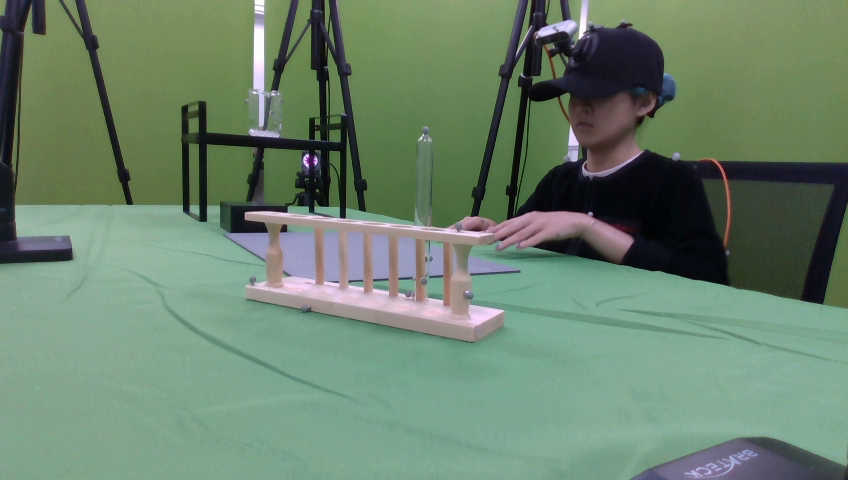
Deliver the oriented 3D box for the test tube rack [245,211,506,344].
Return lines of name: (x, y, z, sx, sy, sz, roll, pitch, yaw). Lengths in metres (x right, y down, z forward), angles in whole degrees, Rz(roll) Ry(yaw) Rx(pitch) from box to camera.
test tube rack: (-0.049, 0.025, 0.547, 0.241, 0.085, 0.067, 7, 8, 28)

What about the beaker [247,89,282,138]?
beaker: (-0.347, -0.274, 1.320, 0.074, 0.100, 0.083, -1, 9, -27)

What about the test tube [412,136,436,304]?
test tube: (0.000, -0.017, 0.537, 0.017, 0.150, 0.017, 2, 8, 0)
